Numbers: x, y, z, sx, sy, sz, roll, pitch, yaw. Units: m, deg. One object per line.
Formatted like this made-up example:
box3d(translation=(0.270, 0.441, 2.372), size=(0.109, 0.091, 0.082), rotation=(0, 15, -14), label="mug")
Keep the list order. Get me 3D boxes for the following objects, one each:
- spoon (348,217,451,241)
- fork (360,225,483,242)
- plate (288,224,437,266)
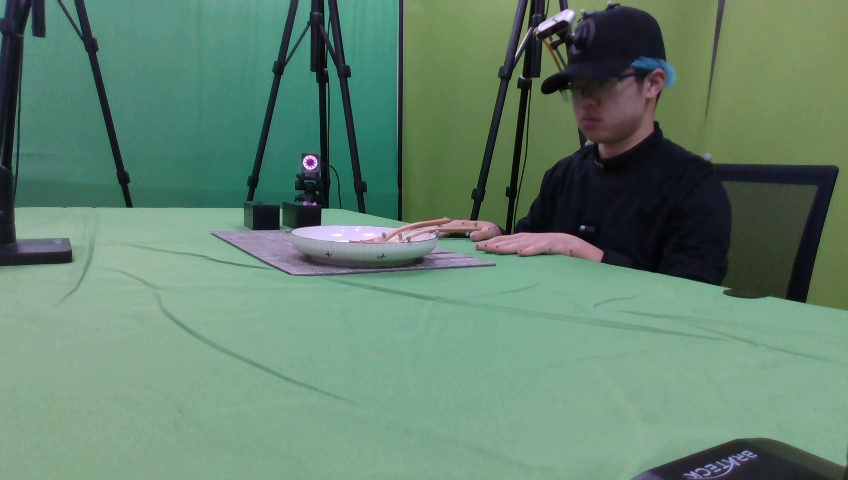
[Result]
box3d(translation=(-0.030, -0.015, 0.924), size=(0.195, 0.021, 0.041), rotation=(-19, 18, -36), label="spoon")
box3d(translation=(0.002, -0.009, 0.894), size=(0.208, 0.018, 0.028), rotation=(-11, 13, -30), label="fork")
box3d(translation=(-0.086, 0.007, 0.852), size=(0.208, 0.039, 0.207), rotation=(2, 7, 0), label="plate")
